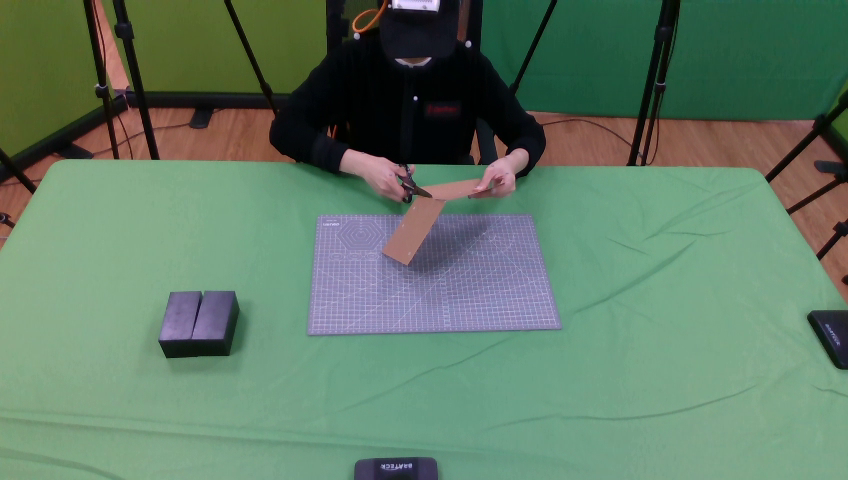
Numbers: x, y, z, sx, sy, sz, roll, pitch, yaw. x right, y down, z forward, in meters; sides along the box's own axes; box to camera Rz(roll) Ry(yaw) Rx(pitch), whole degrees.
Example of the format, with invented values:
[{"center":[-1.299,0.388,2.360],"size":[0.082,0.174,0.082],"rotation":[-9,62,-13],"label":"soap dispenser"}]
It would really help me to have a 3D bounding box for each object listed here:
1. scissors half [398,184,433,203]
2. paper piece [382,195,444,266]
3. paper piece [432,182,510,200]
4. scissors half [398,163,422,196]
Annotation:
[{"center":[-0.017,-0.090,1.205],"size":[0.013,0.040,0.174],"rotation":[-12,10,-21],"label":"scissors half"},{"center":[-0.023,-0.023,1.125],"size":[0.009,0.135,0.138],"rotation":[32,86,-21],"label":"paper piece"},{"center":[0.074,-0.093,1.154],"size":[0.136,0.004,0.135],"rotation":[-15,11,-19],"label":"paper piece"},{"center":[-0.016,-0.111,1.197],"size":[0.013,0.040,0.174],"rotation":[-7,34,-23],"label":"scissors half"}]
